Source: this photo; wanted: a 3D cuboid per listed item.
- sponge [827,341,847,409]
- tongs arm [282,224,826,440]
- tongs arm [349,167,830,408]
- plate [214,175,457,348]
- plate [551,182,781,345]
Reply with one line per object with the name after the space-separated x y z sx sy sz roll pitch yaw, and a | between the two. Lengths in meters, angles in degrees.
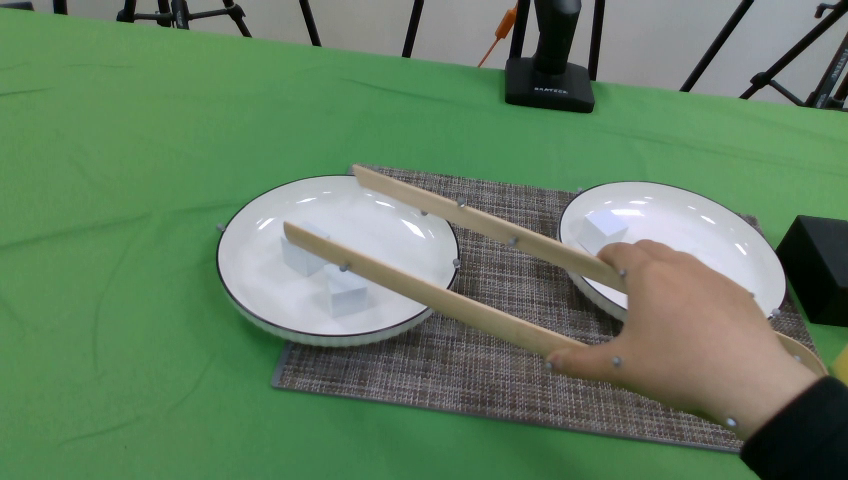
0.403 0.161 0.434 0.118 0.061 0.205 5 42 -2 | sponge
0.050 0.050 0.414 0.385 0.028 0.028 19 46 26 | tongs arm
0.079 0.019 0.440 0.382 0.027 0.050 22 51 28 | tongs arm
-0.075 0.018 0.539 0.209 0.038 0.207 4 42 -3 | plate
0.222 0.021 0.575 0.208 0.039 0.205 4 42 -3 | plate
